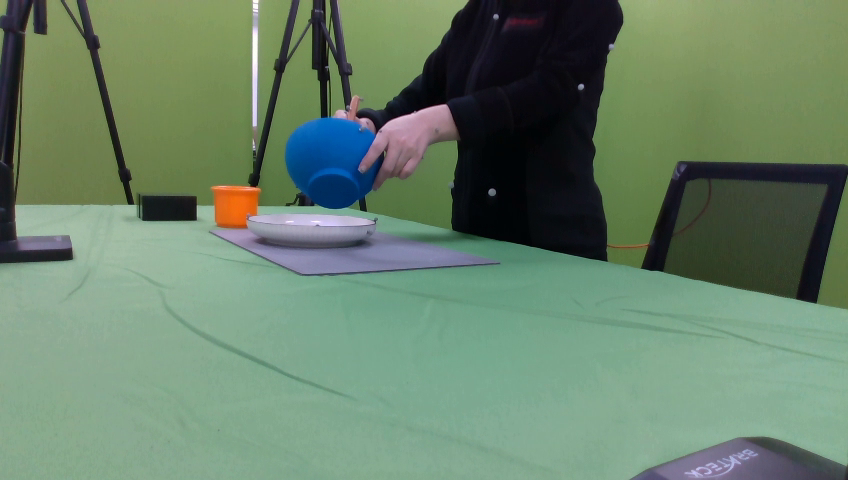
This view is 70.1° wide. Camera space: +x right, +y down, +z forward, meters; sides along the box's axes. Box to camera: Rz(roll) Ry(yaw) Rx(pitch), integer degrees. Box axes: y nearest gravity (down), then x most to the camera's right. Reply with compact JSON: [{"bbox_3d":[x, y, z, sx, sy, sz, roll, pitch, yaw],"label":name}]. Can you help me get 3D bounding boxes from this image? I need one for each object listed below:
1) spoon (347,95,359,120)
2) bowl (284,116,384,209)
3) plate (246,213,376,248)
[{"bbox_3d":[-0.130,-0.159,0.984,0.041,0.193,0.021,7,-29,1],"label":"spoon"},{"bbox_3d":[-0.133,-0.099,0.890,0.152,0.151,0.076,1,50,-6],"label":"bowl"},{"bbox_3d":[-0.185,-0.017,0.994,0.209,0.038,0.209,3,8,0],"label":"plate"}]
